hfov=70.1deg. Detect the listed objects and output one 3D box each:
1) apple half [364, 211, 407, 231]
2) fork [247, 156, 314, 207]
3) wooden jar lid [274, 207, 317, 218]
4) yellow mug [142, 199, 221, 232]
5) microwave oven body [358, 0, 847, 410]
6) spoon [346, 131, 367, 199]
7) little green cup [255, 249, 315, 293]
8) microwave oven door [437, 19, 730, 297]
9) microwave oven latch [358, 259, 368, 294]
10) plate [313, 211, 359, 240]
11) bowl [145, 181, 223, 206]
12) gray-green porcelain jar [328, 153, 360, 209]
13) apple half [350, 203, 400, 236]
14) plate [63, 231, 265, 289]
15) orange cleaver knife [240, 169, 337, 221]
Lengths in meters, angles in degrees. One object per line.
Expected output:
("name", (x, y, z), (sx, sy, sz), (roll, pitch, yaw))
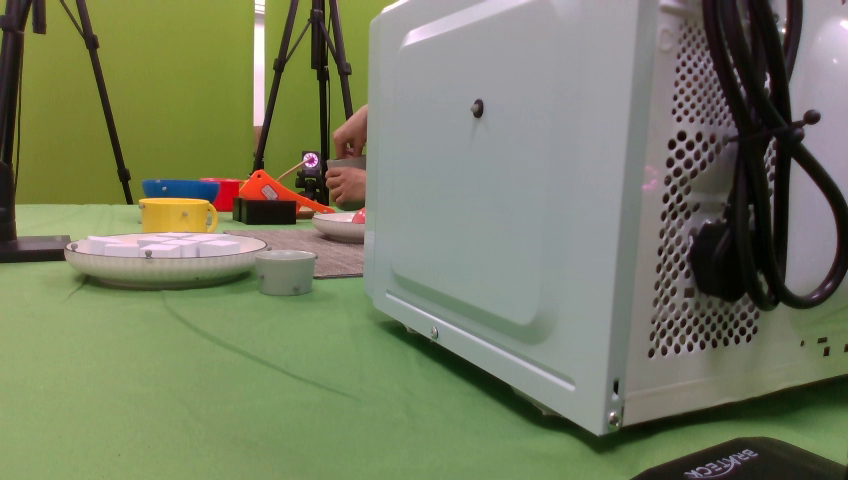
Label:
("apple half", (-0.068, -0.037, 1.104), (0.081, 0.033, 0.081), (-1, 9, 0))
("fork", (-0.360, -0.147, 1.523), (0.207, 0.018, 0.028), (-43, 16, -7))
("wooden jar lid", (-0.303, -0.065, 1.409), (0.108, 0.020, 0.108), (3, 9, 0))
("yellow mug", (-0.372, -0.030, 0.947), (0.099, 0.064, 0.131), (6, 7, 30))
("microwave oven body", (0.210, -0.051, 0.471), (0.444, 0.260, 0.324), (-1, 7, -28))
("spoon", (-0.156, -0.183, 1.465), (0.041, 0.193, 0.022), (4, -21, 7))
("little green cup", (-0.144, 0.032, 0.627), (0.061, 0.038, 0.061), (2, 6, 0))
("microwave oven door", (0.180, -0.076, 0.618), (0.358, 0.243, 0.039), (-2, 9, -28))
("microwave oven latch", (-0.019, 0.031, 0.531), (0.079, 0.029, 0.030), (-2, 7, -30))
("plate", (-0.091, -0.026, 1.063), (0.209, 0.038, 0.209), (2, 7, 0))
("bowl", (-0.499, -0.081, 1.261), (0.151, 0.077, 0.151), (2, 8, 0))
("gray-green porcelain jar", (-0.168, -0.143, 1.460), (0.106, 0.126, 0.106), (-8, 13, 2))
("apple half", (-0.081, -0.036, 1.024), (0.081, 0.053, 0.074), (-2, 11, -34))
("plate", (-0.288, 0.021, 0.687), (0.208, 0.039, 0.207), (2, 8, 0))
("orange cleaver knife", (-0.287, -0.081, 1.298), (0.212, 0.077, 0.012), (25, -3, -31))
